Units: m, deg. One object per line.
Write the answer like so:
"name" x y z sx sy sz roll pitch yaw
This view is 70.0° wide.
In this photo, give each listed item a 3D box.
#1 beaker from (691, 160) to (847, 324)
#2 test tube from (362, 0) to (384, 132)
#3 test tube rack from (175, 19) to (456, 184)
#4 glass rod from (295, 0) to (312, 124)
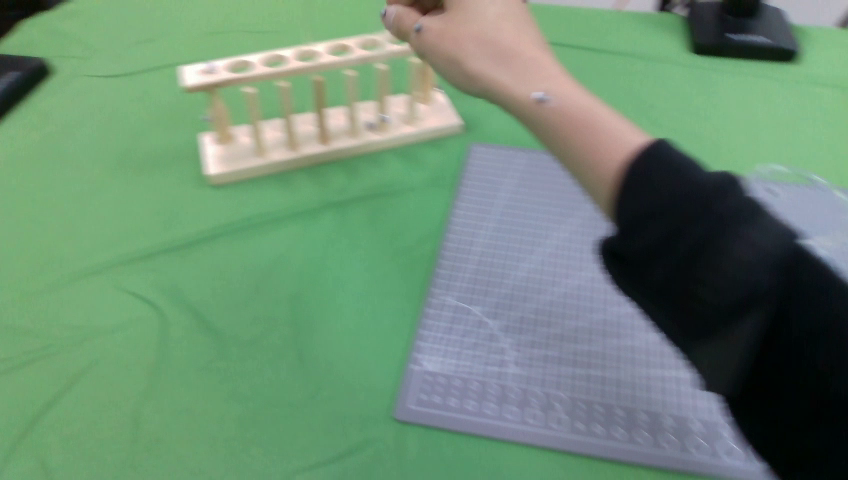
"beaker" 0.237 0.006 0.430 0.084 0.101 0.073 -5 47 -3
"test tube" -0.044 -0.160 0.532 0.017 0.151 0.017 1 45 -1
"test tube rack" -0.092 -0.131 0.566 0.243 0.086 0.066 -15 49 -14
"glass rod" -0.104 -0.176 0.517 0.008 0.201 0.008 2 51 -2
